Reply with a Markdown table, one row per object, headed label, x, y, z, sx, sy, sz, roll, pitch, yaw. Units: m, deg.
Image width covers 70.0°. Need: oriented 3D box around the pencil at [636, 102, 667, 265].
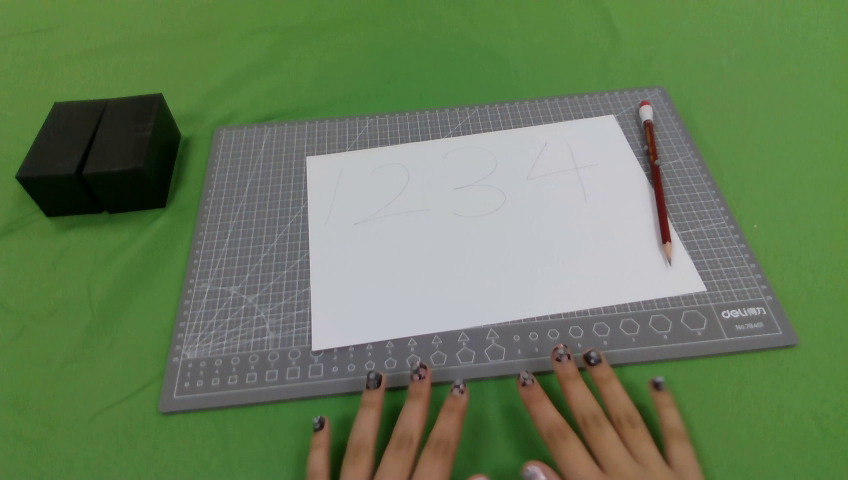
| label | x | y | z | sx | sy | sz | roll | pitch | yaw |
| --- | --- | --- | --- | --- | --- | --- | --- | --- | --- |
| pencil | 0.199 | -0.056 | 0.530 | 0.012 | 0.012 | 0.192 | 4 | 52 | 6 |
